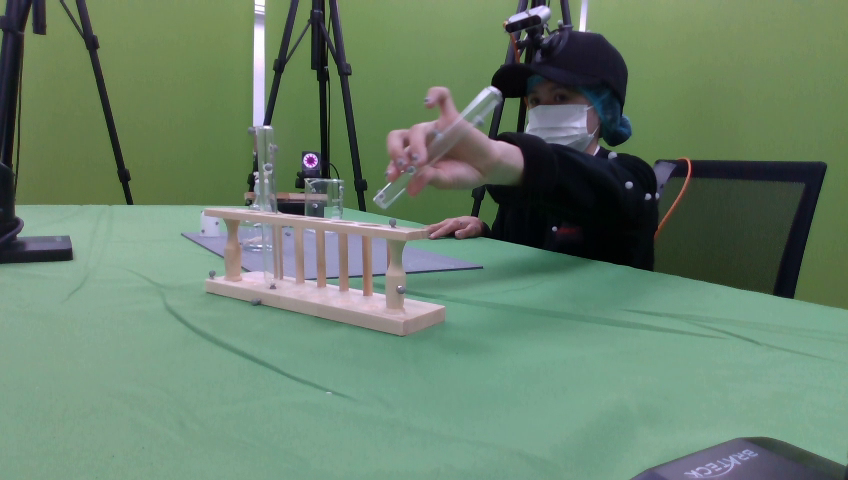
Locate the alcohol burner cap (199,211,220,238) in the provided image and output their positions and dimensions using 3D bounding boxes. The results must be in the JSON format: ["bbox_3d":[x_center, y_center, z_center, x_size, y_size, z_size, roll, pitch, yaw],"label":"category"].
[{"bbox_3d":[-0.356,-0.027,1.002,0.034,0.048,0.034,3,7,0],"label":"alcohol burner cap"}]

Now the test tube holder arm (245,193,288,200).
[{"bbox_3d":[-0.317,-0.088,1.226,0.088,0.015,0.010,-2,0,-37],"label":"test tube holder arm"}]

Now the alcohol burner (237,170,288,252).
[{"bbox_3d":[-0.236,-0.042,0.881,0.078,0.119,0.078,2,9,0],"label":"alcohol burner"}]

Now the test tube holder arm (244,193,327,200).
[{"bbox_3d":[-0.284,-0.090,1.258,0.179,0.015,0.013,-2,-1,-37],"label":"test tube holder arm"}]

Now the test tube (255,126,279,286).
[{"bbox_3d":[-0.147,-0.031,0.567,0.017,0.150,0.017,-1,8,0],"label":"test tube"}]

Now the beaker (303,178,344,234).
[{"bbox_3d":[-0.189,-0.063,1.119,0.073,0.100,0.084,6,9,28],"label":"beaker"}]

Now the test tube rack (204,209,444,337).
[{"bbox_3d":[-0.100,0.021,0.565,0.241,0.085,0.067,7,8,32],"label":"test tube rack"}]

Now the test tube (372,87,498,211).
[{"bbox_3d":[0.009,-0.081,0.545,0.017,0.150,0.017,45,11,-10],"label":"test tube"}]
